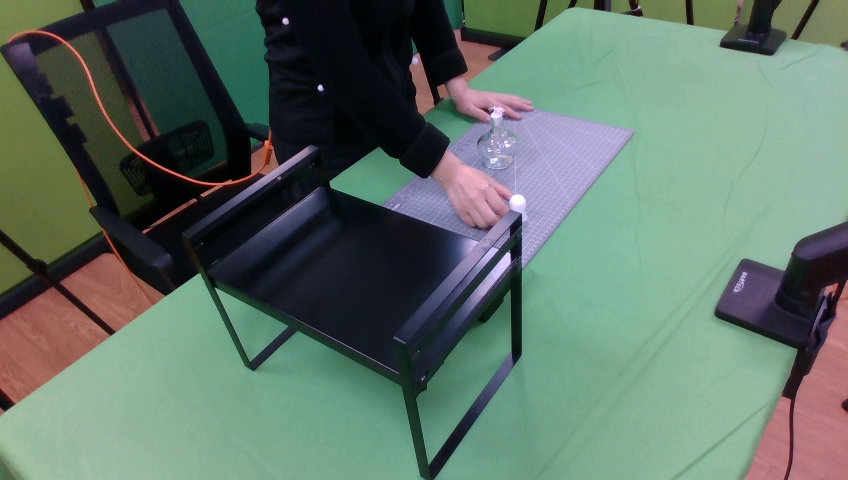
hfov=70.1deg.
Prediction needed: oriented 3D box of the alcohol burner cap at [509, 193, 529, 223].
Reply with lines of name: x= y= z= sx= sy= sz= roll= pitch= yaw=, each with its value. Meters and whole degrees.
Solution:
alcohol burner cap: x=0.156 y=-0.055 z=0.997 sx=0.034 sy=0.048 sz=0.033 roll=-4 pitch=41 yaw=4

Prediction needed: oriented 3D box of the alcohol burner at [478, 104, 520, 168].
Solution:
alcohol burner: x=0.137 y=-0.193 z=1.106 sx=0.078 sy=0.119 sz=0.077 roll=-5 pitch=39 yaw=4
